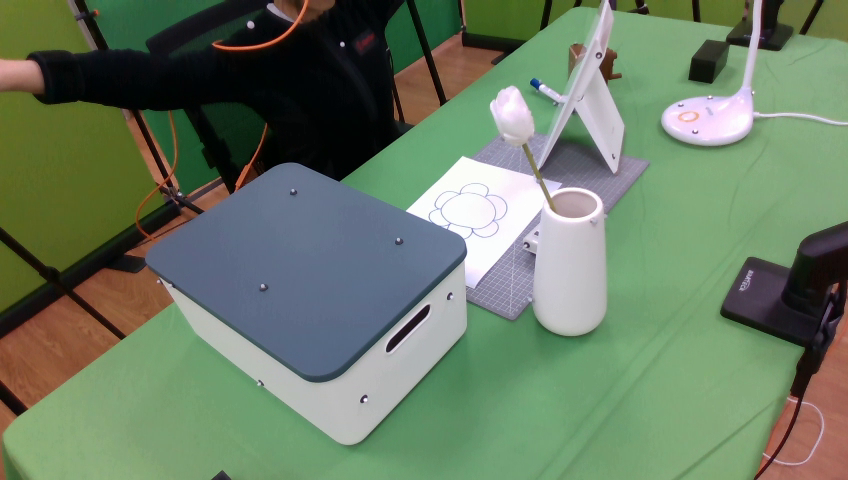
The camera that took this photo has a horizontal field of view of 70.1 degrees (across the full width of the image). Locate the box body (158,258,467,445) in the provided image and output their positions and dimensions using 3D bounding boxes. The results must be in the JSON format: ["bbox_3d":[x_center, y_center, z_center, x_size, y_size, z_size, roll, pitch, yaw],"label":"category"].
[{"bbox_3d":[-0.147,0.072,0.816,0.361,0.161,0.255,24,50,33],"label":"box body"}]

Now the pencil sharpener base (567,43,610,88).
[{"bbox_3d":[0.345,-0.352,1.263,0.077,0.107,0.061,-8,40,1],"label":"pencil sharpener base"}]

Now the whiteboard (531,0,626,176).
[{"bbox_3d":[0.320,-0.258,1.050,0.144,0.306,0.217,22,45,5],"label":"whiteboard"}]

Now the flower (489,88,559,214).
[{"bbox_3d":[0.158,-0.027,0.720,0.038,0.364,0.044,-14,44,23],"label":"flower"}]

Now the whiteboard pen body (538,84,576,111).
[{"bbox_3d":[0.278,-0.309,1.289,0.017,0.017,0.139,-25,47,-18],"label":"whiteboard pen body"}]

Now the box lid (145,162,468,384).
[{"bbox_3d":[-0.157,0.014,0.769,0.368,0.015,0.264,25,51,33],"label":"box lid"}]

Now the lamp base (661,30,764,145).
[{"bbox_3d":[0.535,-0.287,1.096,0.179,0.181,0.159,-10,40,-4],"label":"lamp base"}]

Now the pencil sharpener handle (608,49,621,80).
[{"bbox_3d":[0.394,-0.367,1.253,0.030,0.068,0.036,-8,33,1],"label":"pencil sharpener handle"}]

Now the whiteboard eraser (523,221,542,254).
[{"bbox_3d":[0.207,-0.013,0.938,0.055,0.042,0.113,28,52,33],"label":"whiteboard eraser"}]

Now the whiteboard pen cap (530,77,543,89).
[{"bbox_3d":[0.248,-0.344,1.328,0.018,0.018,0.033,-23,46,-16],"label":"whiteboard pen cap"}]

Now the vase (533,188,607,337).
[{"bbox_3d":[0.187,0.033,0.771,0.098,0.201,0.097,-6,41,6],"label":"vase"}]
